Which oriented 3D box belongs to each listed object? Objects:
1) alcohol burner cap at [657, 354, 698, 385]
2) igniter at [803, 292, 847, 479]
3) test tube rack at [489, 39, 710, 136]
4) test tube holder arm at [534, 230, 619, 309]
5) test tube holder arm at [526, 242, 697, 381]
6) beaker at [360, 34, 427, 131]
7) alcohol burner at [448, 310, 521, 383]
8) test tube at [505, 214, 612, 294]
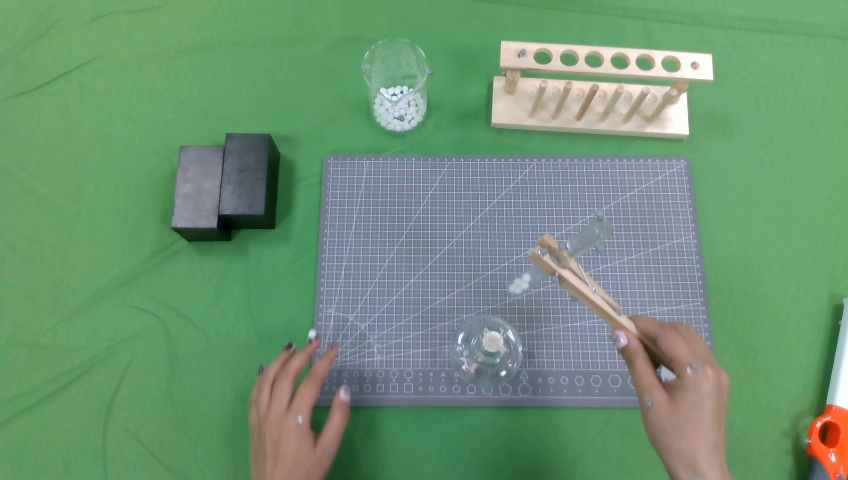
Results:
[{"bbox_3d":[0.277,0.139,0.655,0.034,0.048,0.033,0,72,-1],"label":"alcohol burner cap"},{"bbox_3d":[0.444,0.187,0.654,0.057,0.025,0.275,23,75,-4],"label":"igniter"},{"bbox_3d":[0.205,-0.181,0.728,0.242,0.085,0.066,4,74,1],"label":"test tube rack"},{"bbox_3d":[0.125,0.027,0.495,0.088,0.015,0.010,46,62,-4],"label":"test tube holder arm"},{"bbox_3d":[0.155,0.061,0.497,0.179,0.015,0.013,40,63,-7],"label":"test tube holder arm"},{"bbox_3d":[-0.034,-0.179,0.718,0.074,0.101,0.083,3,74,1],"label":"beaker"},{"bbox_3d":[0.064,0.108,0.625,0.078,0.119,0.077,1,72,-2],"label":"alcohol burner"},{"bbox_3d":[0.104,0.016,0.495,0.017,0.150,0.017,8,65,-17],"label":"test tube"}]
